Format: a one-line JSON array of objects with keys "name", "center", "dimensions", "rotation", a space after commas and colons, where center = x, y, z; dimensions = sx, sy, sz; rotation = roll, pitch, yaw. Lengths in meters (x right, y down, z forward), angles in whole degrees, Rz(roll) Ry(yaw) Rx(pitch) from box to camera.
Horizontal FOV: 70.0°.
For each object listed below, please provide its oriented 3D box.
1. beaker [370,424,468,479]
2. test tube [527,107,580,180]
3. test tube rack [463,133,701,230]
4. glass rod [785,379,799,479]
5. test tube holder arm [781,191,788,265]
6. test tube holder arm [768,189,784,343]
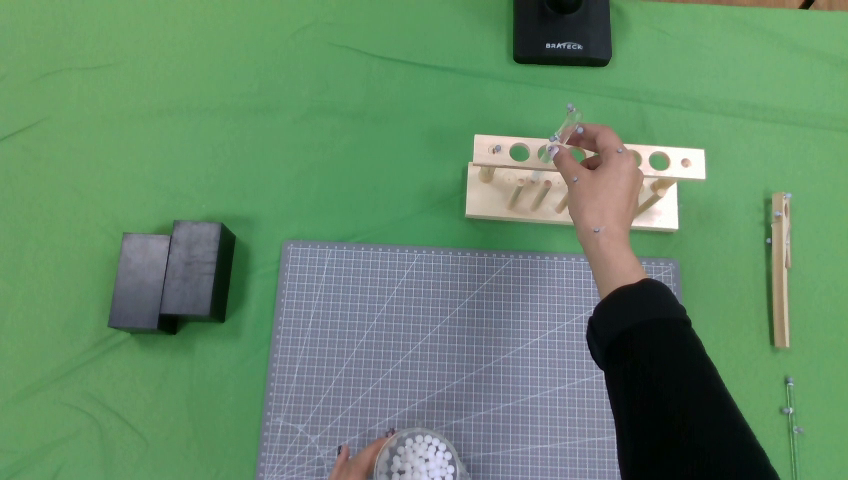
[{"name": "beaker", "center": [-0.002, 0.211, 0.563], "dimensions": [0.084, 0.101, 0.073], "rotation": [7, 73, 4]}, {"name": "test tube", "center": [0.131, -0.095, 0.627], "dimensions": [0.017, 0.151, 0.017], "rotation": [1, 73, -4]}, {"name": "test tube rack", "center": [0.168, -0.063, 0.671], "dimensions": [0.242, 0.085, 0.066], "rotation": [4, 74, 0]}, {"name": "glass rod", "center": [0.387, 0.246, 0.633], "dimensions": [0.008, 0.008, 0.198], "rotation": [5, 75, 0]}, {"name": "test tube holder arm", "center": [0.410, -0.013, 0.698], "dimensions": [0.010, 0.015, 0.087], "rotation": [18, 73, -27]}, {"name": "test tube holder arm", "center": [0.398, 0.028, 0.683], "dimensions": [0.013, 0.015, 0.177], "rotation": [17, 73, -27]}]
